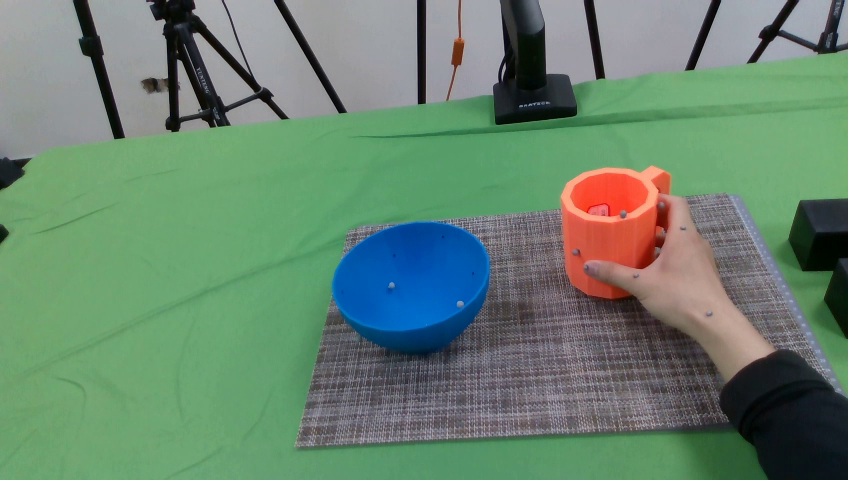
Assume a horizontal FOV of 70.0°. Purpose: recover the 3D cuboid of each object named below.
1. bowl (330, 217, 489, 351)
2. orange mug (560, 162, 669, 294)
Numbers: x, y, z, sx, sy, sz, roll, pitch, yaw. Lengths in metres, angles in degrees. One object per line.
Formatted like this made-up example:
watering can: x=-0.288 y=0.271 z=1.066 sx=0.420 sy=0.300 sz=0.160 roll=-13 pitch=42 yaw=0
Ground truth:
bowl: x=-0.008 y=0.054 z=0.587 sx=0.151 sy=0.077 sz=0.150 roll=-7 pitch=39 yaw=6
orange mug: x=0.193 y=-0.021 z=0.596 sx=0.126 sy=0.102 sz=0.082 roll=-35 pitch=43 yaw=-17
